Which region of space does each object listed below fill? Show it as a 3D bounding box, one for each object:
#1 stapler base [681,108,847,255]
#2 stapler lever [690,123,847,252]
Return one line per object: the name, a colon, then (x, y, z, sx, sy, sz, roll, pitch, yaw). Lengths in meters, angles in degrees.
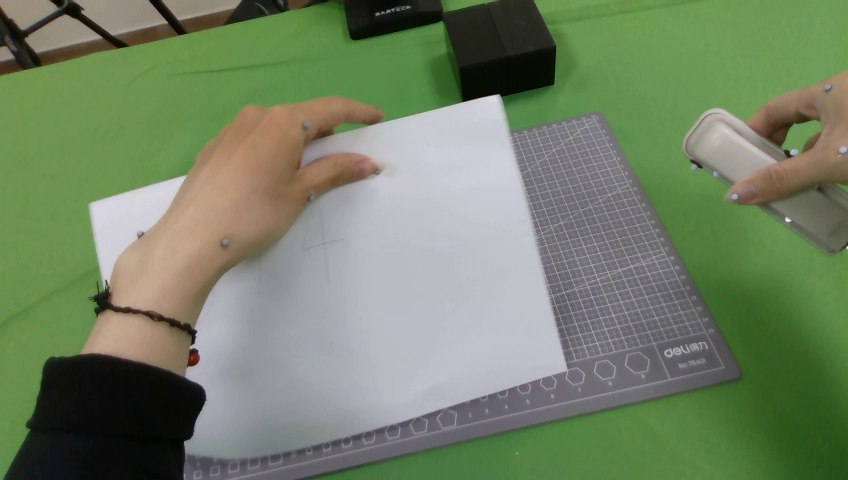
stapler base: (0.239, -0.041, 0.416, 0.130, 0.041, 0.024, 38, 30, 13)
stapler lever: (0.229, -0.035, 0.395, 0.117, 0.027, 0.040, 39, 30, 14)
